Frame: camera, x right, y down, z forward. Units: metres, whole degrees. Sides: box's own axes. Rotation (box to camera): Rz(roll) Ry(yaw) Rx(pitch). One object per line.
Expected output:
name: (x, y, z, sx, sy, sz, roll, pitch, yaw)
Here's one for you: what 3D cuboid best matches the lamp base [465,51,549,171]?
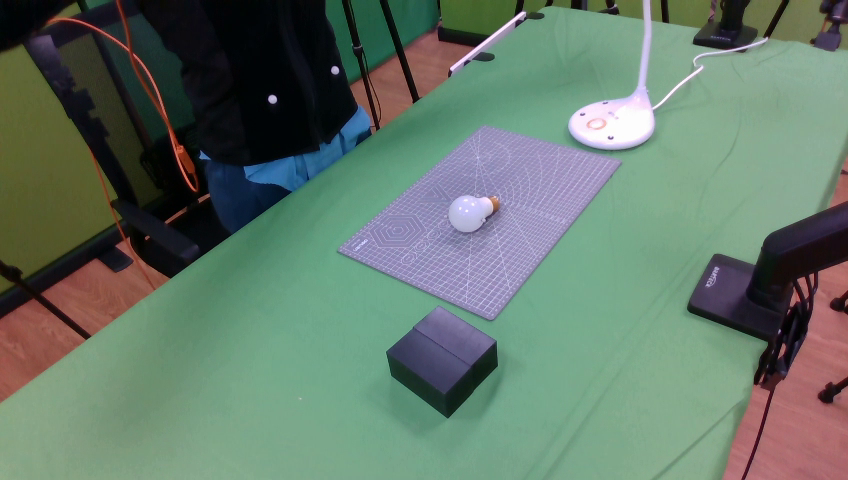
lamp base: (0.159, -0.243, 1.103, 0.180, 0.181, 0.159, -32, 46, -29)
